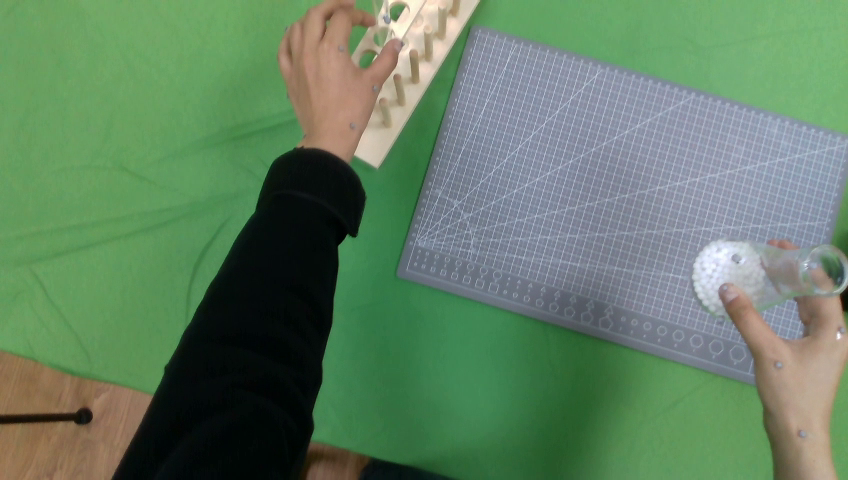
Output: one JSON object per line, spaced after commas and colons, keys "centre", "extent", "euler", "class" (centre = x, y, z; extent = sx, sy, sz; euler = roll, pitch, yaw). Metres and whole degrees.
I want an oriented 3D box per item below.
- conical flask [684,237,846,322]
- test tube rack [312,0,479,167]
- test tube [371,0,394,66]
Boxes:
{"centre": [0.270, 0.029, 0.479], "extent": [0.075, 0.122, 0.075], "euler": [1, 84, -8], "class": "conical flask"}
{"centre": [-0.020, -0.204, 0.642], "extent": [0.067, 0.085, 0.242], "euler": [31, 87, 3], "class": "test tube rack"}
{"centre": [-0.040, -0.208, 0.593], "extent": [0.017, 0.150, 0.017], "euler": [0, 81, 0], "class": "test tube"}
